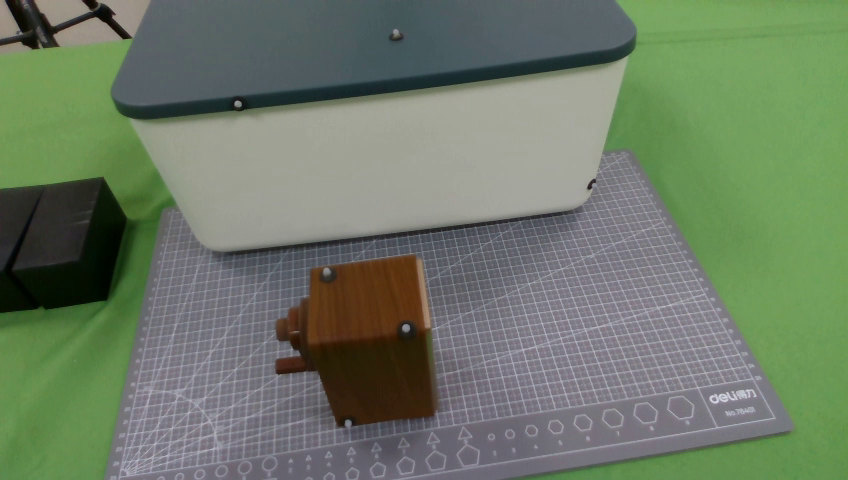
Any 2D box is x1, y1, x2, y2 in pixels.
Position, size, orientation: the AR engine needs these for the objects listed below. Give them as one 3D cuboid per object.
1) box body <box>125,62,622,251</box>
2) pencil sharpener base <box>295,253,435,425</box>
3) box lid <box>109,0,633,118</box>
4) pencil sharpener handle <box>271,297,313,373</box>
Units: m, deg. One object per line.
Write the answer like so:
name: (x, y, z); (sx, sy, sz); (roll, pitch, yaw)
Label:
box body: (-0.040, -0.141, 0.549); (0.364, 0.162, 0.251); (-7, 46, -3)
pencil sharpener base: (-0.035, 0.067, 0.391); (0.077, 0.108, 0.060); (-7, 47, -2)
box lid: (-0.046, -0.192, 0.495); (0.372, 0.015, 0.260); (-7, 45, -3)
pencil sharpener handle: (-0.087, 0.064, 0.380); (0.030, 0.068, 0.035); (-7, 50, -2)
